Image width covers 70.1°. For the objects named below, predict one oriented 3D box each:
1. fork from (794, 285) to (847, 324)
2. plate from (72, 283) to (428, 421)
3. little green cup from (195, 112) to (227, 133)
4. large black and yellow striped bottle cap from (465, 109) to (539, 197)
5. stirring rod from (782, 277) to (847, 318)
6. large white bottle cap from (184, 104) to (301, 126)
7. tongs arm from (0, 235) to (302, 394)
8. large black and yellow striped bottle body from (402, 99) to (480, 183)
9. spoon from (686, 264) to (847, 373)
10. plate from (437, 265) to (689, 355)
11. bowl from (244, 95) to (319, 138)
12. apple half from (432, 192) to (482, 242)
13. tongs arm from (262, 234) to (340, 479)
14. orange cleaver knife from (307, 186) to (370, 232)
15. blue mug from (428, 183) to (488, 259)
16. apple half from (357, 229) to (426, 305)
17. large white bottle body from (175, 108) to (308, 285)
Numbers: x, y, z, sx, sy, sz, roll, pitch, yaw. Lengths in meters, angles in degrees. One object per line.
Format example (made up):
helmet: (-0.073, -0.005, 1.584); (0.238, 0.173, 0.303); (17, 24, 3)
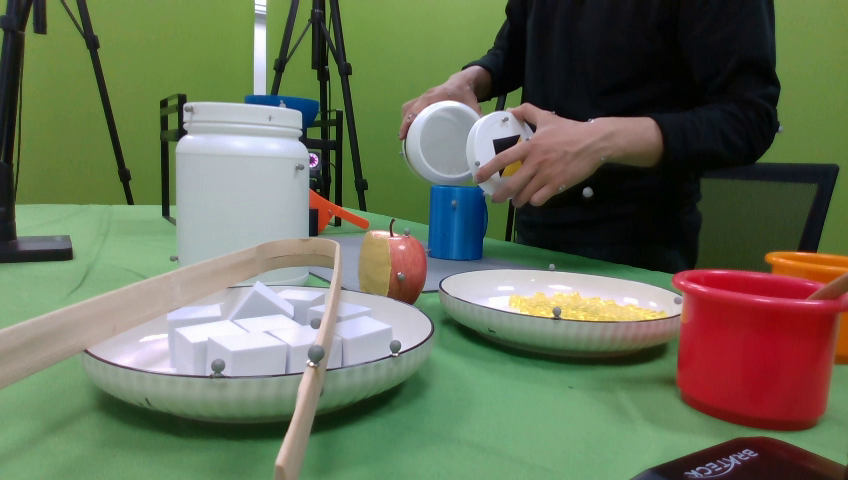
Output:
fork: (0.332, 0.018, 0.443); (0.028, 0.018, 0.207); (-1, -36, -15)
plate: (-0.102, 0.066, 0.381); (0.208, 0.039, 0.207); (2, 7, 0)
little green cup: (-0.412, -0.227, 1.171); (0.061, 0.038, 0.061); (3, 8, 0)
large black and yellow striped bottle cap: (0.104, -0.114, 0.789); (0.115, 0.115, 0.018); (-3, -4, -34)
stirring rod: (0.344, 0.019, 0.461); (0.014, 0.006, 0.176); (-13, -27, -30)
large white bottle cap: (-0.184, -0.126, 0.618); (0.115, 0.018, 0.115); (2, 8, 0)
tongs arm: (-0.157, 0.038, 0.351); (0.028, 0.028, 0.388); (-3, 8, 12)
large black and yellow striped bottle body: (0.033, -0.160, 0.992); (0.131, 0.130, 0.183); (1, 7, -6)
spoon: (0.215, 0.032, 0.328); (0.042, 0.021, 0.193); (-3, -35, -26)
plate: (0.114, 0.057, 0.517); (0.209, 0.038, 0.209); (3, 8, 0)
bowl: (-0.293, -0.251, 1.249); (0.151, 0.077, 0.151); (2, 7, 0)
apple half: (0.048, -0.037, 0.906); (0.081, 0.081, 0.033); (2, 15, -1)
tongs arm: (-0.074, 0.039, 0.349); (0.051, 0.026, 0.384); (-2, 10, -3)
orange cleaver knife: (-0.197, -0.056, 1.141); (0.212, 0.077, 0.012); (29, 0, -35)
blue mug: (0.059, -0.031, 0.907); (0.082, 0.106, 0.117); (9, 10, 42)
apple half: (-0.026, 0.028, 0.570); (0.053, 0.074, 0.080); (3, 2, -28)
large white bottle body: (-0.188, -0.042, 0.630); (0.131, 0.184, 0.130); (2, 8, 0)
